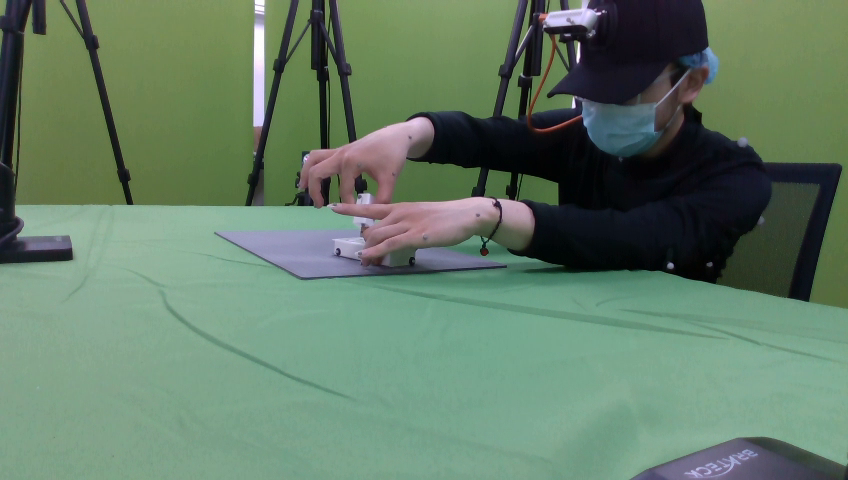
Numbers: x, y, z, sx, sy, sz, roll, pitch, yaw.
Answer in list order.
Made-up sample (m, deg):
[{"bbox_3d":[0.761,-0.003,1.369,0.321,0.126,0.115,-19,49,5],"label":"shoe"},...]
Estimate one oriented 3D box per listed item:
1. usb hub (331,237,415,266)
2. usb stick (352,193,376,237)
[{"bbox_3d":[-0.073,0.014,0.836,0.124,0.025,0.050,8,9,43],"label":"usb hub"},{"bbox_3d":[-0.083,-0.034,0.836,0.021,0.059,0.027,1,-13,23],"label":"usb stick"}]
